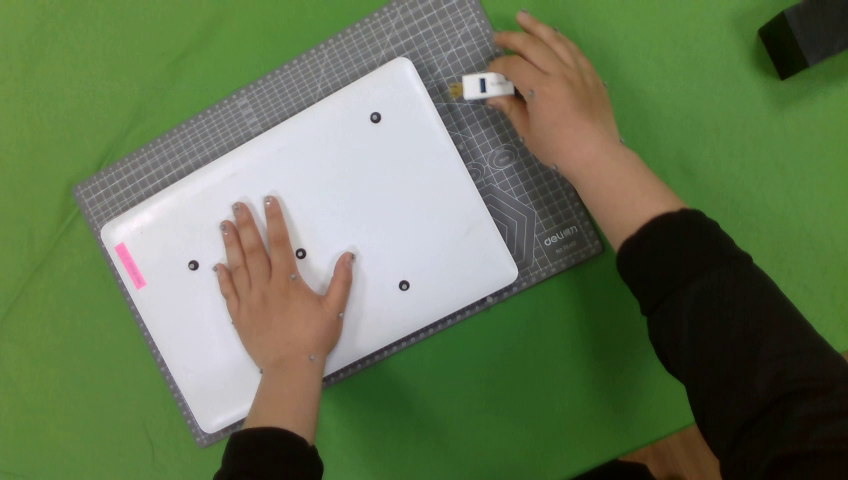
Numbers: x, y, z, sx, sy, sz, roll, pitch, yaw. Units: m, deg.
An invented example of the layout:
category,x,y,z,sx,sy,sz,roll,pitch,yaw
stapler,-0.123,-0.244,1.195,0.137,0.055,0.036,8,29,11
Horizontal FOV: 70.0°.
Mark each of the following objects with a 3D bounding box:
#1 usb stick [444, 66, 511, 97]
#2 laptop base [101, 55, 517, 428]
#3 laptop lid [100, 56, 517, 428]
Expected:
category,x,y,z,sx,sy,sz,roll,pitch,yaw
usb stick,0.047,-0.140,0.540,0.059,0.027,0.021,-6,102,8
laptop base,-0.117,0.009,0.589,0.354,0.023,0.235,-28,93,8
laptop lid,-0.117,0.011,0.579,0.356,0.013,0.242,-26,92,8
